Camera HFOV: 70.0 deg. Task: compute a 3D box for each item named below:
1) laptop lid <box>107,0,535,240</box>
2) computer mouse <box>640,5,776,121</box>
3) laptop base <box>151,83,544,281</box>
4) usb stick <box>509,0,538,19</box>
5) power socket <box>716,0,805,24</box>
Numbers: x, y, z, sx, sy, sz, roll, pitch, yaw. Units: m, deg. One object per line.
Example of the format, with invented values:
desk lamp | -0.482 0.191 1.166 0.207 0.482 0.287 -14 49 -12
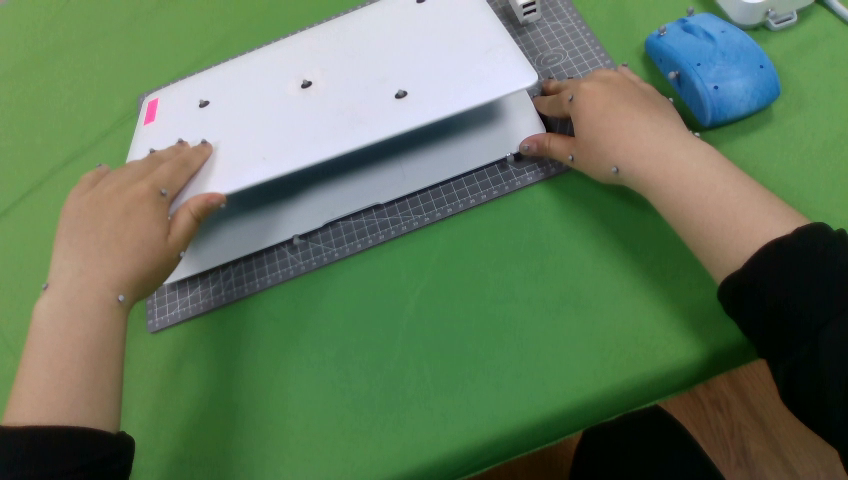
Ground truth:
laptop lid | -0.104 -0.137 0.533 0.356 0.013 0.239 -20 45 4
computer mouse | 0.225 -0.149 0.486 0.063 0.041 0.116 -22 53 5
laptop base | -0.093 -0.116 0.565 0.354 0.023 0.233 -21 61 3
usb stick | 0.089 -0.242 0.580 0.021 0.027 0.058 -22 55 8
power socket | 0.270 -0.282 0.552 0.072 0.033 0.224 -19 58 5
